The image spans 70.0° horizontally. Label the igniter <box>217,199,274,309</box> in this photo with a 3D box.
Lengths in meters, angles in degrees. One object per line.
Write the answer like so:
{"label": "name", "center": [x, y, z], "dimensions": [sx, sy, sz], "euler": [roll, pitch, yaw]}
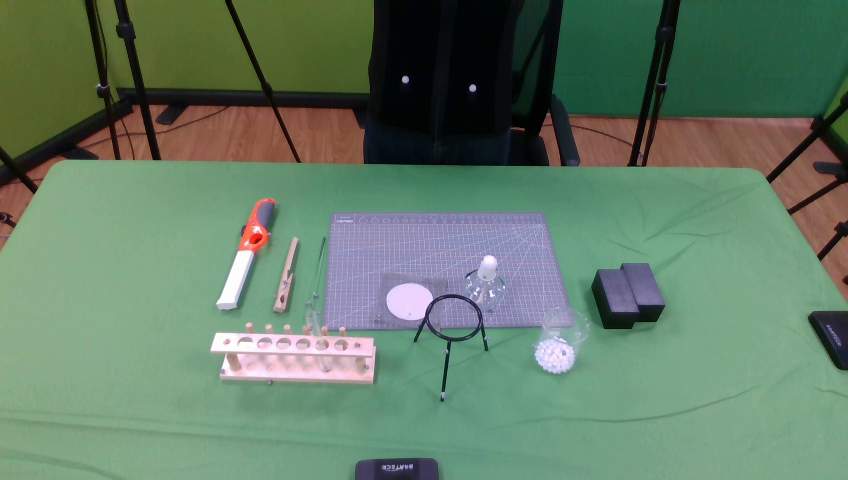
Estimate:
{"label": "igniter", "center": [-0.336, 0.017, 1.153], "dimensions": [0.057, 0.025, 0.275], "euler": [-2, 45, 8]}

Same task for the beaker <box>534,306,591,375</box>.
{"label": "beaker", "center": [0.226, 0.168, 1.002], "dimensions": [0.084, 0.101, 0.073], "euler": [-5, 47, -10]}

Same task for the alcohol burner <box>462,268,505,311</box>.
{"label": "alcohol burner", "center": [0.108, 0.071, 1.072], "dimensions": [0.078, 0.119, 0.077], "euler": [4, 45, -4]}

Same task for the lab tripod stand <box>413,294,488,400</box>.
{"label": "lab tripod stand", "center": [0.044, 0.159, 0.972], "dimensions": [0.148, 0.132, 0.147], "euler": [3, 44, -2]}

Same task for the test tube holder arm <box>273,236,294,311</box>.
{"label": "test tube holder arm", "center": [-0.259, 0.059, 1.123], "dimensions": [0.013, 0.015, 0.177], "euler": [28, 39, -27]}

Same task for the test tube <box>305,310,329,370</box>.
{"label": "test tube", "center": [-0.162, 0.156, 0.924], "dimensions": [0.017, 0.151, 0.017], "euler": [-1, 48, 1]}

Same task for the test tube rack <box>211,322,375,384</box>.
{"label": "test tube rack", "center": [-0.202, 0.176, 0.969], "dimensions": [0.242, 0.085, 0.066], "euler": [3, 46, -2]}

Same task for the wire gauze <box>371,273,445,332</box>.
{"label": "wire gauze", "center": [-0.028, 0.108, 1.100], "dimensions": [0.125, 0.011, 0.121], "euler": [7, 45, 4]}

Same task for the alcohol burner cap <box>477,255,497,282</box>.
{"label": "alcohol burner cap", "center": [0.110, 0.047, 1.046], "dimensions": [0.034, 0.048, 0.033], "euler": [2, 52, -2]}

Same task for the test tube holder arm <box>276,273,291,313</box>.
{"label": "test tube holder arm", "center": [-0.254, 0.093, 1.094], "dimensions": [0.010, 0.015, 0.087], "euler": [29, 38, -26]}

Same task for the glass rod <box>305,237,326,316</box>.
{"label": "glass rod", "center": [-0.202, 0.063, 1.131], "dimensions": [0.008, 0.008, 0.198], "euler": [3, 44, 0]}
